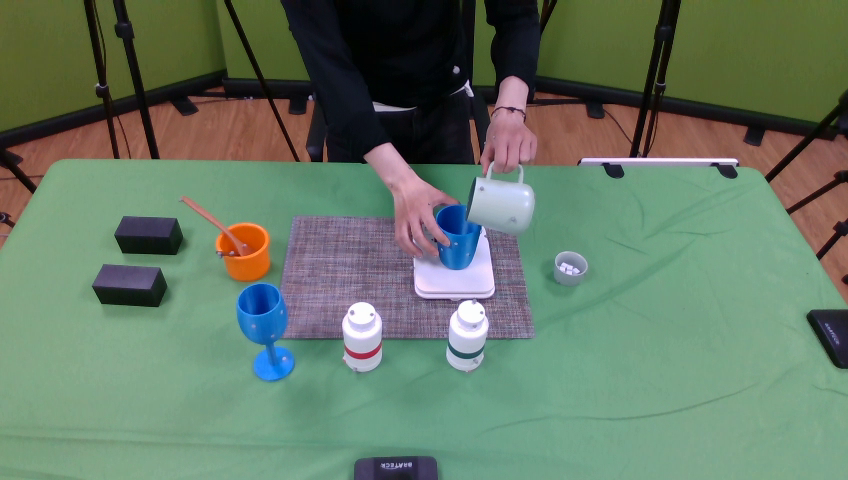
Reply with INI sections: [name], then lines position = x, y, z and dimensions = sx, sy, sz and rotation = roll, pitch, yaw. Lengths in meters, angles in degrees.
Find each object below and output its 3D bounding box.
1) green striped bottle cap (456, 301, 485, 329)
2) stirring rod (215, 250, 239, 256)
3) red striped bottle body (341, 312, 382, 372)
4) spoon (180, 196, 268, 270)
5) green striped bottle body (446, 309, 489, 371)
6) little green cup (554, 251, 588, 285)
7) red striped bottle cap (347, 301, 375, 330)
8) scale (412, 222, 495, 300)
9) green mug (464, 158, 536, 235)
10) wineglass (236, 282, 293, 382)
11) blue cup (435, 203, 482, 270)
[green striped bottle cap]
position = 0.073, 0.116, 0.943
dimensions = 0.044, 0.020, 0.044
rotation = 3, 46, -3
[stirring rod]
position = -0.339, 0.024, 1.059
dimensions = 0.014, 0.176, 0.006
rotation = 18, 86, -6
[red striped bottle body]
position = -0.100, 0.154, 0.972
dimensions = 0.063, 0.120, 0.062
rotation = 2, 46, -2
[spoon]
position = -0.360, -0.014, 1.094
dimensions = 0.021, 0.194, 0.041
rotation = -27, 26, 31
[green striped bottle body]
position = 0.070, 0.155, 0.984
dimensions = 0.063, 0.120, 0.063
rotation = 2, 45, -2
[little green cup]
position = 0.277, 0.055, 1.151
dimensions = 0.061, 0.039, 0.061
rotation = 1, 45, -1
[red striped bottle cap]
position = -0.097, 0.116, 0.934
dimensions = 0.044, 0.018, 0.044
rotation = 2, 49, -2
[scale]
position = 0.052, 0.031, 1.158
dimensions = 0.149, 0.032, 0.199
rotation = 1, 46, -4
[green mug]
position = 0.133, -0.077, 1.033
dimensions = 0.105, 0.125, 0.092
rotation = 12, 10, -3
[wineglass]
position = -0.243, 0.143, 0.934
dimensions = 0.074, 0.173, 0.073
rotation = 2, 46, -2
[blue cup]
position = 0.060, -0.001, 1.099
dimensions = 0.092, 0.101, 0.092
rotation = 0, 43, 0
